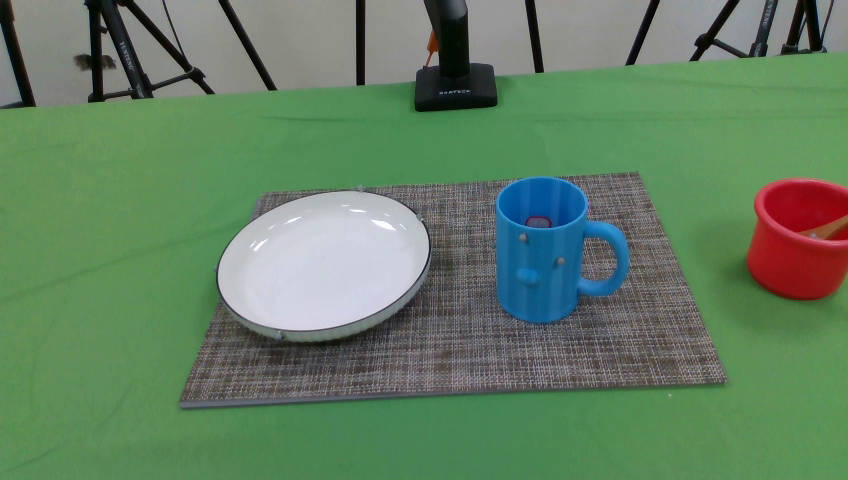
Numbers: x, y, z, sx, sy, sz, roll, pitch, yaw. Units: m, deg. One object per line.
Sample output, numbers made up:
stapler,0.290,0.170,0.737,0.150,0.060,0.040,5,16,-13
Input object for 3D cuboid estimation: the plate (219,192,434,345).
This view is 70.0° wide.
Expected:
plate,-0.093,0.027,0.598,0.207,0.039,0.205,-3,40,3

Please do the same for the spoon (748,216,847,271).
spoon,0.375,-0.020,0.516,0.022,0.194,0.041,38,42,-19

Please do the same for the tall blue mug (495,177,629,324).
tall blue mug,0.118,0.009,0.536,0.107,0.109,0.077,-7,39,-1
